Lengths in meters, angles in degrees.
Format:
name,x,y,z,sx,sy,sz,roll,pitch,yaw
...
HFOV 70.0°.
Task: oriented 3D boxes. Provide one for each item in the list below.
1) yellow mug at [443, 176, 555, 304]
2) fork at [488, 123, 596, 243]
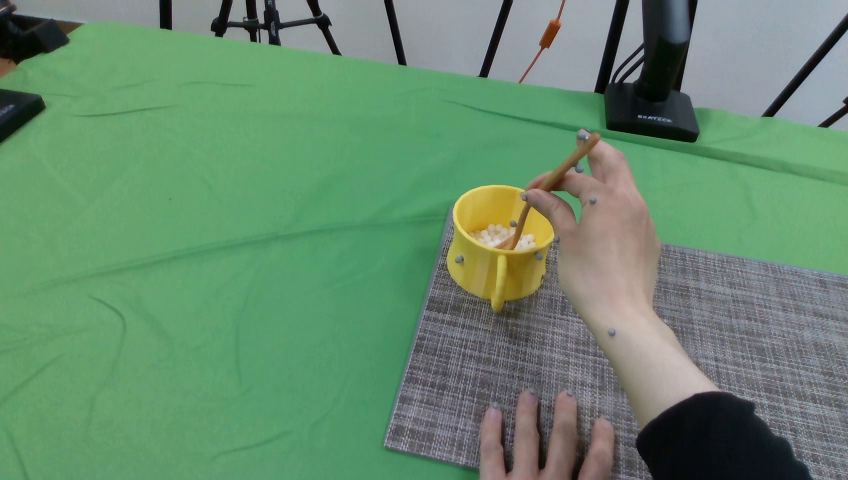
name,x,y,z,sx,sy,sz,roll,pitch,yaw
yellow mug,0.069,0.004,0.575,0.100,0.064,0.129,6,44,1
fork,0.089,-0.035,0.509,0.018,0.208,0.028,28,61,1
